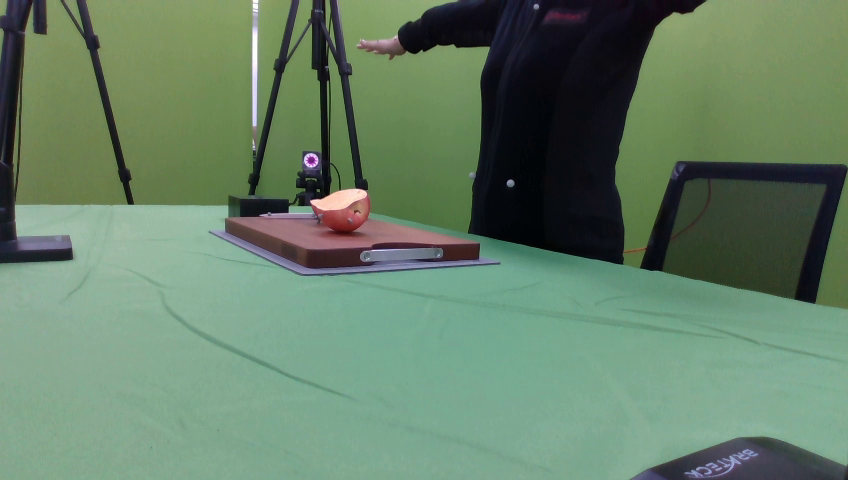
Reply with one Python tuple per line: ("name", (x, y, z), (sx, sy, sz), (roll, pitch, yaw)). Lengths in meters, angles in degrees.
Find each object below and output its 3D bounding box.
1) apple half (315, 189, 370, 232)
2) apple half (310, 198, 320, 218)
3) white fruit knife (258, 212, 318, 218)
("apple half", (-0.123, -0.041, 0.929), (0.074, 0.053, 0.081), (11, 35, 39))
("apple half", (-0.160, -0.044, 1.036), (0.081, 0.033, 0.081), (16, 15, -4))
("white fruit knife", (-0.200, -0.046, 1.112), (0.208, 0.016, 0.027), (-3, -20, -26))
